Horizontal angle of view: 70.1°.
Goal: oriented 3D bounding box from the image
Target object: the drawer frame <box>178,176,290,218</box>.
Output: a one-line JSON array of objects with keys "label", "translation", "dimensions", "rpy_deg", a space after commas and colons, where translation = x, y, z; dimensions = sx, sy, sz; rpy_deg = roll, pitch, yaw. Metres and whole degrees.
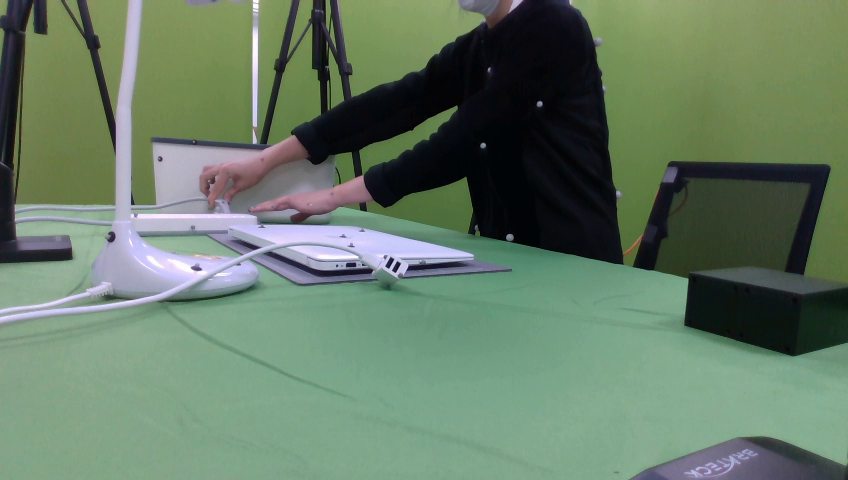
[{"label": "drawer frame", "translation": [-0.409, -0.099, 1.340], "dimensions": [0.214, 0.082, 0.201], "rpy_deg": [-4, 7, -10]}]

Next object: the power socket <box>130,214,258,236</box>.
[{"label": "power socket", "translation": [-0.398, -0.028, 1.049], "dimensions": [0.228, 0.032, 0.072], "rpy_deg": [-3, 8, -34]}]

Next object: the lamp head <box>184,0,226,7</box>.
[{"label": "lamp head", "translation": [-0.229, -0.320, 0.627], "dimensions": [0.112, 0.112, 0.123], "rpy_deg": [6, -36, 26]}]

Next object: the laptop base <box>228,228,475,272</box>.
[{"label": "laptop base", "translation": [-0.122, 0.011, 0.889], "dimensions": [0.237, 0.023, 0.352], "rpy_deg": [2, 6, -35]}]

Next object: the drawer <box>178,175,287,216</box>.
[{"label": "drawer", "translation": [-0.414, -0.103, 1.341], "dimensions": [0.212, 0.073, 0.194], "rpy_deg": [5, 6, -11]}]

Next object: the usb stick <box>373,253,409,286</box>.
[{"label": "usb stick", "translation": [-0.038, 0.035, 0.663], "dimensions": [0.027, 0.021, 0.059], "rpy_deg": [28, -22, -7]}]

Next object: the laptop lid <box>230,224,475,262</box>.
[{"label": "laptop lid", "translation": [-0.119, 0.000, 0.889], "dimensions": [0.243, 0.013, 0.355], "rpy_deg": [1, 7, -33]}]

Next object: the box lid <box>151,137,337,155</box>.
[{"label": "box lid", "translation": [-0.379, -0.203, 1.334], "dimensions": [0.372, 0.015, 0.262], "rpy_deg": [2, 7, -9]}]

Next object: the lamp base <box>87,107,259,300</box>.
[{"label": "lamp base", "translation": [-0.254, -0.039, 0.603], "dimensions": [0.160, 0.180, 0.179], "rpy_deg": [5, 10, 18]}]

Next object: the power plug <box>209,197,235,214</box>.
[{"label": "power plug", "translation": [-0.381, -0.052, 1.143], "dimensions": [0.035, 0.052, 0.072], "rpy_deg": [-3, 15, -32]}]

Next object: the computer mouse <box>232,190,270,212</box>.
[{"label": "computer mouse", "translation": [-0.382, -0.086, 1.342], "dimensions": [0.063, 0.041, 0.117], "rpy_deg": [10, 10, -4]}]

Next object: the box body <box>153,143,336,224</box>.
[{"label": "box body", "translation": [-0.380, -0.130, 1.344], "dimensions": [0.365, 0.160, 0.253], "rpy_deg": [1, 7, -9]}]
